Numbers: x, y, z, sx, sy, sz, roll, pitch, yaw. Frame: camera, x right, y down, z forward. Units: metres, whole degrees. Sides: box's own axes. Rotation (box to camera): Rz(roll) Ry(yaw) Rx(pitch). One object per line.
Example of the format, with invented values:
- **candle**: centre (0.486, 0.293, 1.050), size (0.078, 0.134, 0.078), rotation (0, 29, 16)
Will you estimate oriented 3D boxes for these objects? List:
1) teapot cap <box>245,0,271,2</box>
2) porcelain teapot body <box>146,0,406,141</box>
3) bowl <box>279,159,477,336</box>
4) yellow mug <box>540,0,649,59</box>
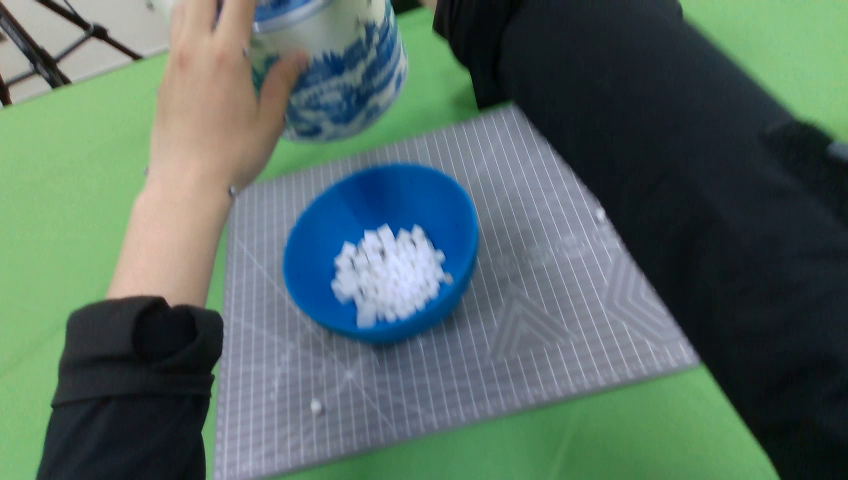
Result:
- **teapot cap**: centre (-0.115, -0.207, 0.430), size (0.085, 0.044, 0.084), rotation (-7, 62, 13)
- **porcelain teapot body**: centre (-0.134, -0.187, 0.469), size (0.205, 0.227, 0.144), rotation (-6, 61, 10)
- **bowl**: centre (-0.027, 0.018, 0.472), size (0.151, 0.077, 0.150), rotation (-8, 53, 11)
- **yellow mug**: centre (0.147, -0.218, 0.542), size (0.099, 0.064, 0.130), rotation (14, 62, 25)
